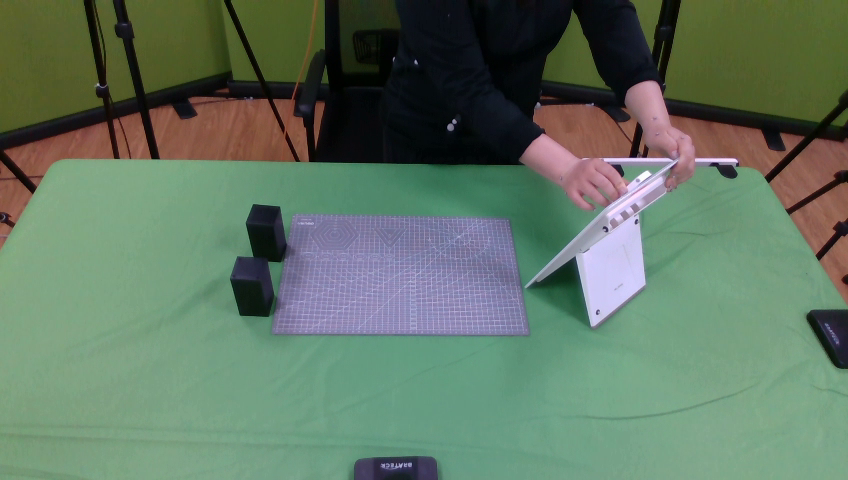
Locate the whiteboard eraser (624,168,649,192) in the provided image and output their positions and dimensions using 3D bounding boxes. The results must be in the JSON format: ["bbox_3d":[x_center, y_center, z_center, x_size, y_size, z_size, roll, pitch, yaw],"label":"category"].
[{"bbox_3d":[0.343,-0.078,1.011,0.019,0.101,0.041,40,49,17],"label":"whiteboard eraser"}]

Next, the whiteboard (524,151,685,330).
[{"bbox_3d":[0.346,0.024,1.047,0.217,0.306,0.143,-30,73,-29],"label":"whiteboard"}]
